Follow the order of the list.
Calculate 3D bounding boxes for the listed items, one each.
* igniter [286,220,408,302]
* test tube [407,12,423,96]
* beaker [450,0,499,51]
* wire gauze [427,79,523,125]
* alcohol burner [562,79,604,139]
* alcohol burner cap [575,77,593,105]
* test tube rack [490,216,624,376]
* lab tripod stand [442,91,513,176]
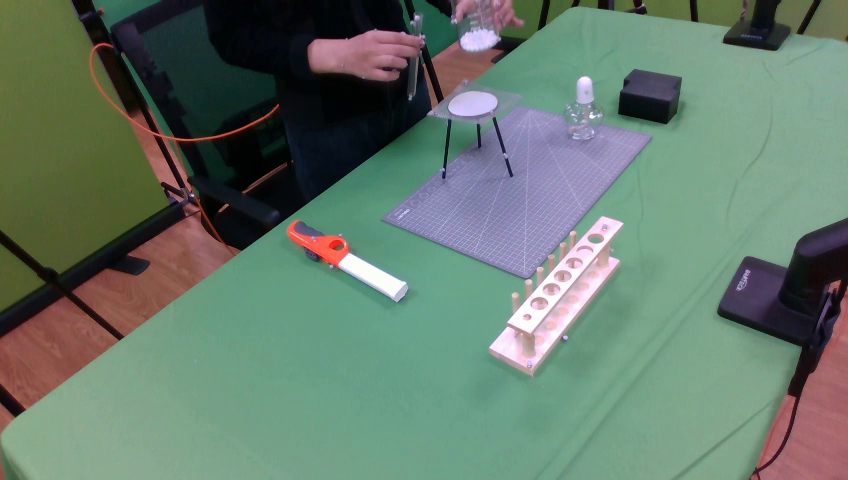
[{"bbox_3d":[-0.134,0.028,0.969,0.274,0.025,0.057,27,61,35],"label":"igniter"},{"bbox_3d":[-0.016,-0.311,1.023,0.017,0.150,0.017,5,43,-4],"label":"test tube"},{"bbox_3d":[0.082,-0.375,1.011,0.084,0.101,0.073,-15,37,1],"label":"beaker"},{"bbox_3d":[0.088,-0.239,1.050,0.120,0.011,0.125,22,49,30],"label":"wire gauze"},{"bbox_3d":[0.303,-0.253,1.147,0.078,0.119,0.077,-4,41,4],"label":"alcohol burner"},{"bbox_3d":[0.297,-0.279,1.124,0.034,0.048,0.033,-8,41,8],"label":"alcohol burner cap"},{"bbox_3d":[0.184,0.064,0.822,0.066,0.085,0.243,24,50,33],"label":"test tube rack"},{"bbox_3d":[0.096,-0.190,1.096,0.148,0.132,0.147,-4,40,4],"label":"lab tripod stand"}]
